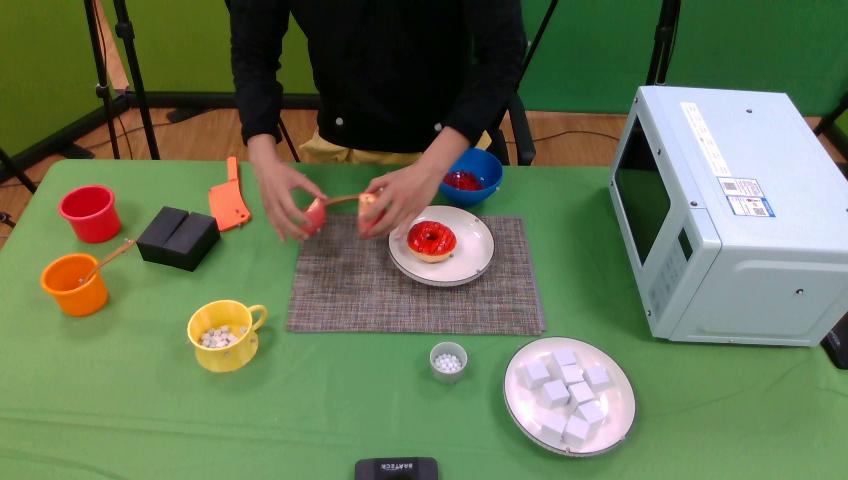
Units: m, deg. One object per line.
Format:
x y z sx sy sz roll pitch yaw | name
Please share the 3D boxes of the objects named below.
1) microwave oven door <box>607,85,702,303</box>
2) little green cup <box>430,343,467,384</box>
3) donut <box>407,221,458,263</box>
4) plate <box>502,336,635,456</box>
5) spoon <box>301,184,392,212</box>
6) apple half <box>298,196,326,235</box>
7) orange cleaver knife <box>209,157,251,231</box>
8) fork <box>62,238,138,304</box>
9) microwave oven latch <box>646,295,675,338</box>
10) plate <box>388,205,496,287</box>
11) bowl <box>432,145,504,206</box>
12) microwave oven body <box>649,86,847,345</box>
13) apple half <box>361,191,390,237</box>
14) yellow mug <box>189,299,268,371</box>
0.423 -0.094 1.140 0.039 0.245 0.353 2 46 -1 | microwave oven door
0.039 0.203 0.994 0.061 0.039 0.061 2 46 -2 | little green cup
0.016 0.002 1.166 0.099 0.048 0.098 3 43 -2 | donut
0.225 0.248 0.963 0.208 0.039 0.206 2 46 -2 | plate
-0.162 -0.086 1.270 0.194 0.022 0.041 -11 64 -15 | spoon
-0.197 -0.040 1.105 0.033 0.081 0.081 30 49 -2 | apple half
-0.409 -0.099 1.266 0.077 0.012 0.210 -14 50 -9 | orange cleaver knife
-0.547 0.053 1.018 0.207 0.019 0.028 -36 41 23 | fork
0.412 0.134 1.061 0.030 0.029 0.078 4 45 1 | microwave oven latch
0.033 0.014 1.171 0.209 0.038 0.208 2 46 -2 | plate
0.091 -0.124 1.286 0.151 0.077 0.150 2 46 -2 | bowl
0.568 -0.053 1.118 0.326 0.261 0.439 2 45 -1 | microwave oven body
-0.089 -0.046 1.112 0.053 0.075 0.080 1 37 -6 | apple half
-0.316 0.148 1.002 0.131 0.064 0.099 -33 56 -31 | yellow mug
